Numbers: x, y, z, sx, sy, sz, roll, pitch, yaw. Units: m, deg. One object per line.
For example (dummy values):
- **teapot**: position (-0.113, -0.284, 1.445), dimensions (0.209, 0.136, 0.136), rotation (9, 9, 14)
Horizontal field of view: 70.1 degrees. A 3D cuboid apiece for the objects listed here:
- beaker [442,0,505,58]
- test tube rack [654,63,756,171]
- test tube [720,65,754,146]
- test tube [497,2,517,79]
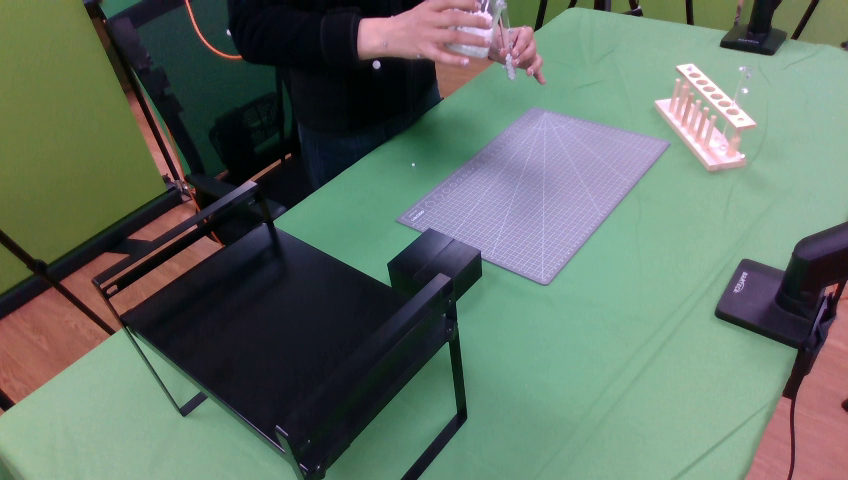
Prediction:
- **beaker**: position (0.072, -0.319, 0.865), dimensions (0.073, 0.100, 0.084), rotation (24, 23, 14)
- **test tube rack**: position (0.510, -0.233, 1.120), dimensions (0.067, 0.085, 0.241), rotation (-8, 41, -1)
- **test tube**: position (0.533, -0.226, 1.032), dimensions (0.017, 0.151, 0.017), rotation (-2, 41, 2)
- **test tube**: position (0.136, -0.320, 0.983), dimensions (0.017, 0.151, 0.017), rotation (-7, 57, 11)
